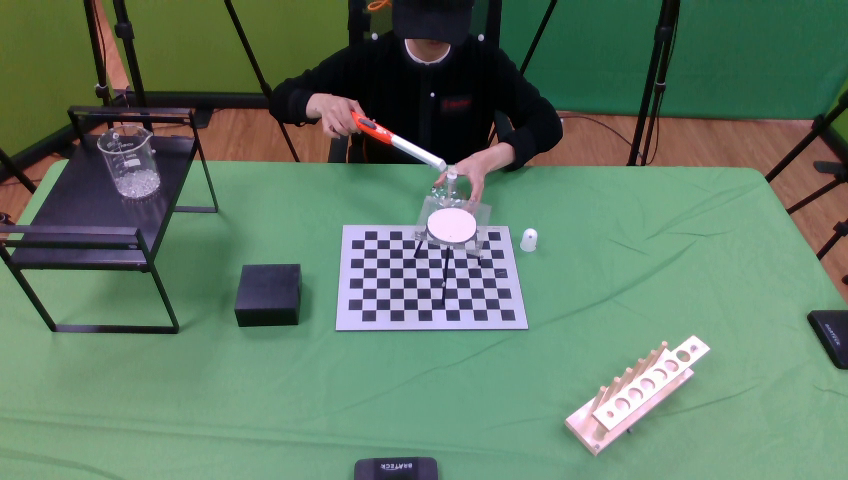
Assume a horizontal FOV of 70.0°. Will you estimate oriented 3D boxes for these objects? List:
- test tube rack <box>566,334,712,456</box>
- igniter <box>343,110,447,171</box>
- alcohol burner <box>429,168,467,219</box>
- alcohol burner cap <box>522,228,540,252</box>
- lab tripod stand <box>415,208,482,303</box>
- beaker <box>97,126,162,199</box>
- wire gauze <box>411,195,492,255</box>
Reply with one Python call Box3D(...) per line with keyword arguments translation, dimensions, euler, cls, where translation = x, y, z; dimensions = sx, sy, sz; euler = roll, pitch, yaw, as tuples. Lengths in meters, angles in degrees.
Box3D(translation=(0.338, 0.228, 0.950), dimensions=(0.242, 0.085, 0.066), euler=(-27, 52, -26), cls="test tube rack")
Box3D(translation=(-0.067, -0.208, 1.245), dimensions=(0.275, 0.057, 0.025), euler=(30, 82, 27), cls="igniter")
Box3D(translation=(0.051, -0.100, 1.219), dimensions=(0.078, 0.119, 0.077), euler=(4, 48, -5), cls="alcohol burner")
Box3D(translation=(0.214, -0.003, 1.198), dimensions=(0.034, 0.048, 0.033), euler=(1, 46, -1), cls="alcohol burner cap")
Box3D(translation=(0.043, 0.018, 1.097), dimensions=(0.148, 0.132, 0.147), euler=(0, 46, 0), cls="lab tripod stand")
Box3D(translation=(-0.468, -0.124, 0.979), dimensions=(0.084, 0.101, 0.073), euler=(-25, 53, -26), cls="beaker")
Box3D(translation=(0.049, -0.031, 1.051), dimensions=(0.125, 0.011, 0.121), euler=(12, 47, 9), cls="wire gauze")
